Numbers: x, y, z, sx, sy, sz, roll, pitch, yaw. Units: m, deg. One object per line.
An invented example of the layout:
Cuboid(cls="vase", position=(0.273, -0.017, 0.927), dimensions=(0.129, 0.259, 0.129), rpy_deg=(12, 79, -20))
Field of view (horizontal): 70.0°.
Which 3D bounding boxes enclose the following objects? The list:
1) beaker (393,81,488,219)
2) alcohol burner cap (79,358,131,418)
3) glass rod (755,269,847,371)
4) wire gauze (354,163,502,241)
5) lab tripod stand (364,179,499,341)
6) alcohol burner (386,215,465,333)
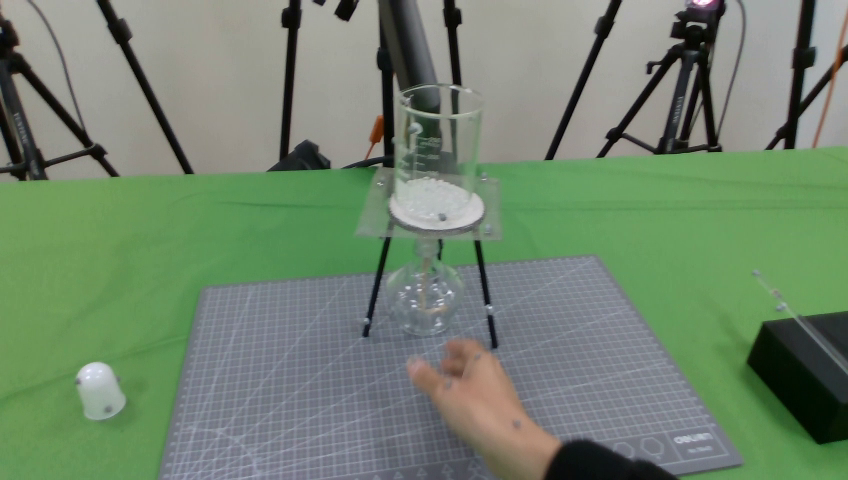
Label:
Cuboid(cls="beaker", position=(0.008, -0.076, 0.516), dimensions=(0.083, 0.101, 0.074), rpy_deg=(26, 40, 30))
Cuboid(cls="alcohol burner cap", position=(-0.267, 0.120, 0.502), dimensions=(0.034, 0.048, 0.033), rpy_deg=(1, 33, 0))
Cuboid(cls="glass rod", position=(0.346, 0.085, 0.528), dimensions=(0.008, 0.008, 0.197), rpy_deg=(-3, 34, -6))
Cuboid(cls="wire gauze", position=(0.008, -0.035, 0.542), dimensions=(0.121, 0.011, 0.124), rpy_deg=(4, 36, 3))
Cuboid(cls="lab tripod stand", position=(0.013, 0.020, 0.578), dimensions=(0.148, 0.132, 0.147), rpy_deg=(3, 33, -1))
Cuboid(cls="alcohol burner", position=(0.002, 0.030, 0.582), dimensions=(0.078, 0.120, 0.077), rpy_deg=(0, 32, 0))
